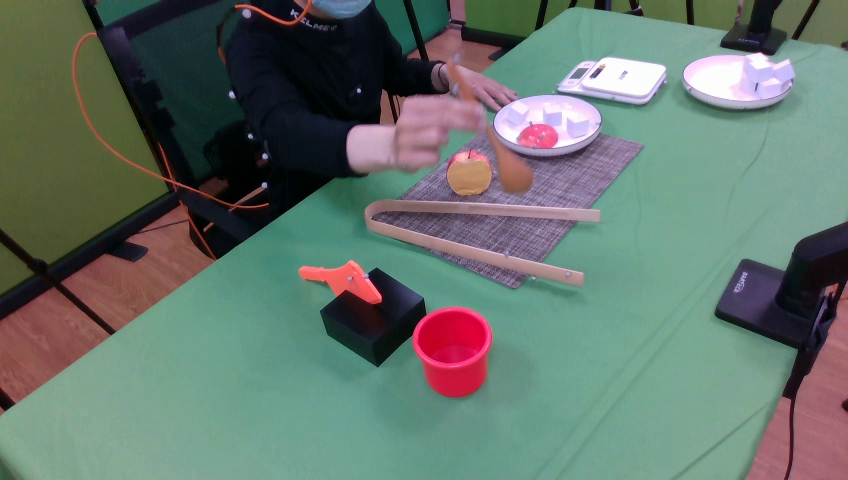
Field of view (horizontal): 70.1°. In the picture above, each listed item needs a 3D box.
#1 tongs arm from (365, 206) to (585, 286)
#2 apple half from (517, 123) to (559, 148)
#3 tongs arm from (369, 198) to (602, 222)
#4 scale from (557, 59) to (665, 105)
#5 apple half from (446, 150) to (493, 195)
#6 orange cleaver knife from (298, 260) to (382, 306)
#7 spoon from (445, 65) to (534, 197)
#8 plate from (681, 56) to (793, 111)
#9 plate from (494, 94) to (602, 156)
[{"bbox_3d":[0.067,0.004,0.951,0.382,0.026,0.051,13,45,23],"label":"tongs arm"},{"bbox_3d":[0.221,-0.207,1.160,0.081,0.033,0.081,-6,43,6],"label":"apple half"},{"bbox_3d":[0.097,-0.047,1.009,0.386,0.028,0.028,3,46,13],"label":"tongs arm"},{"bbox_3d":[0.407,-0.348,1.314,0.199,0.032,0.149,19,47,28],"label":"scale"},{"bbox_3d":[0.080,-0.123,1.065,0.081,0.075,0.053,-7,37,7],"label":"apple half"},{"bbox_3d":[-0.125,0.063,0.876,0.012,0.077,0.210,-38,19,-29],"label":"orange cleaver knife"},{"bbox_3d":[0.077,-0.126,0.721,0.041,0.195,0.021,-28,25,18],"label":"spoon"},{"bbox_3d":[0.636,-0.317,1.239,0.207,0.039,0.206,-4,40,4],"label":"plate"},{"bbox_3d":[0.240,-0.221,1.181,0.209,0.038,0.208,-4,41,4],"label":"plate"}]
